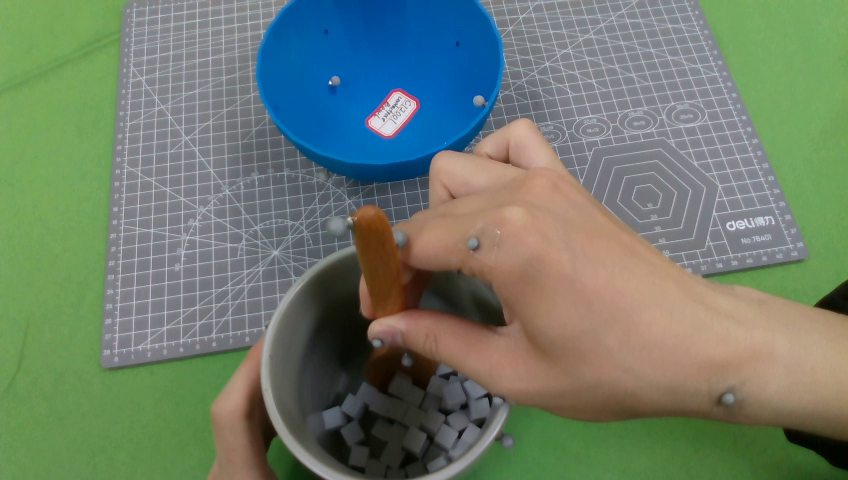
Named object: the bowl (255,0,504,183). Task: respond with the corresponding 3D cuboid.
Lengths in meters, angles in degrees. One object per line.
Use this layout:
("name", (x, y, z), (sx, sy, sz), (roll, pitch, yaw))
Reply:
("bowl", (-0.025, -0.093, 0.399), (0.151, 0.077, 0.150), (-1, 66, 2))

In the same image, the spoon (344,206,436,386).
("spoon", (-0.014, 0.036, 0.265), (0.041, 0.195, 0.021), (-7, 67, -3))

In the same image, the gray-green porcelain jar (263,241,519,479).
("gray-green porcelain jar", (-0.011, 0.073, 0.302), (0.106, 0.127, 0.105), (-1, 66, 2))
